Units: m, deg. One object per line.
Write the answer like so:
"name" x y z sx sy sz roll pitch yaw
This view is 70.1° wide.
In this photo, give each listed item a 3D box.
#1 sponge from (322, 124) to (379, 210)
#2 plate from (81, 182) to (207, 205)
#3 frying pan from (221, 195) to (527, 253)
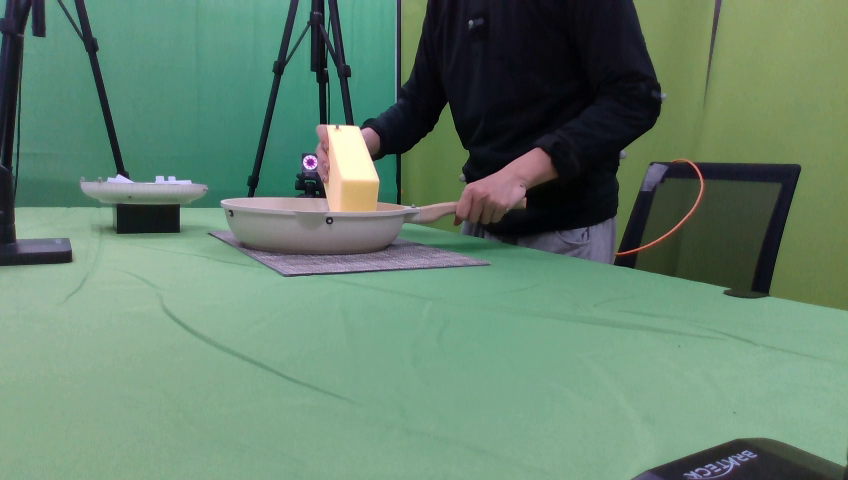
"sponge" -0.131 -0.102 1.036 0.061 0.118 0.206 -2 35 -17
"plate" -0.504 -0.086 1.100 0.208 0.039 0.207 1 6 0
"frying pan" -0.070 -0.043 0.983 0.489 0.102 0.306 -7 9 -5
